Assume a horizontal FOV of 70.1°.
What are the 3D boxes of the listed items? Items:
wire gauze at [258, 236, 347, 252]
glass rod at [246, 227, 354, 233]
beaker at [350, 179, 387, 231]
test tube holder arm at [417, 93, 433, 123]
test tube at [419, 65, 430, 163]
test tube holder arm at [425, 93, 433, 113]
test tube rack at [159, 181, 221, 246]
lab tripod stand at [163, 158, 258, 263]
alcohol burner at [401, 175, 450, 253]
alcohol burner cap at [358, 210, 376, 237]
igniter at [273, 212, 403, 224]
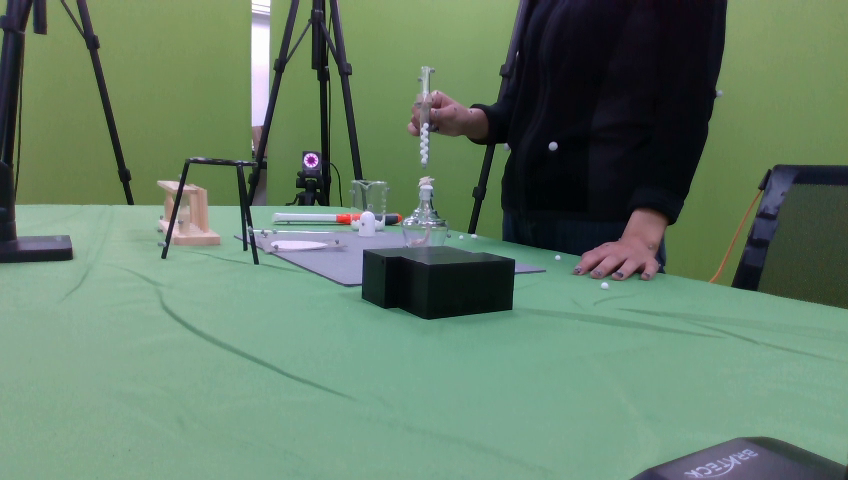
[{"bbox_3d":[-0.189,0.005,0.931,0.122,0.011,0.124,1,7,-21],"label":"wire gauze"},{"bbox_3d":[-0.224,-0.017,1.109,0.201,0.008,0.008,1,7,-27],"label":"glass rod"},{"bbox_3d":[-0.111,-0.069,1.204,0.074,0.100,0.084,2,8,0],"label":"beaker"},{"bbox_3d":[0.003,-0.216,0.998,0.013,0.015,0.178,6,1,5],"label":"test tube holder arm"},{"bbox_3d":[0.001,-0.194,0.929,0.017,0.150,0.017,1,-1,0],"label":"test tube"},{"bbox_3d":[0.006,-0.215,0.953,0.010,0.015,0.088,5,1,-2],"label":"test tube holder arm"},{"bbox_3d":[-0.395,-0.050,1.010,0.067,0.085,0.241,-2,8,-28],"label":"test tube rack"},{"bbox_3d":[-0.265,-0.041,0.802,0.148,0.131,0.148,4,7,0],"label":"lab tripod stand"},{"bbox_3d":[0.003,-0.040,0.933,0.078,0.119,0.078,2,9,0],"label":"alcohol burner"},{"bbox_3d":[-0.104,-0.030,1.098,0.034,0.048,0.034,3,7,0],"label":"alcohol burner cap"},{"bbox_3d":[-0.179,-0.048,1.290,0.278,0.025,0.057,-1,-2,-24],"label":"igniter"}]
